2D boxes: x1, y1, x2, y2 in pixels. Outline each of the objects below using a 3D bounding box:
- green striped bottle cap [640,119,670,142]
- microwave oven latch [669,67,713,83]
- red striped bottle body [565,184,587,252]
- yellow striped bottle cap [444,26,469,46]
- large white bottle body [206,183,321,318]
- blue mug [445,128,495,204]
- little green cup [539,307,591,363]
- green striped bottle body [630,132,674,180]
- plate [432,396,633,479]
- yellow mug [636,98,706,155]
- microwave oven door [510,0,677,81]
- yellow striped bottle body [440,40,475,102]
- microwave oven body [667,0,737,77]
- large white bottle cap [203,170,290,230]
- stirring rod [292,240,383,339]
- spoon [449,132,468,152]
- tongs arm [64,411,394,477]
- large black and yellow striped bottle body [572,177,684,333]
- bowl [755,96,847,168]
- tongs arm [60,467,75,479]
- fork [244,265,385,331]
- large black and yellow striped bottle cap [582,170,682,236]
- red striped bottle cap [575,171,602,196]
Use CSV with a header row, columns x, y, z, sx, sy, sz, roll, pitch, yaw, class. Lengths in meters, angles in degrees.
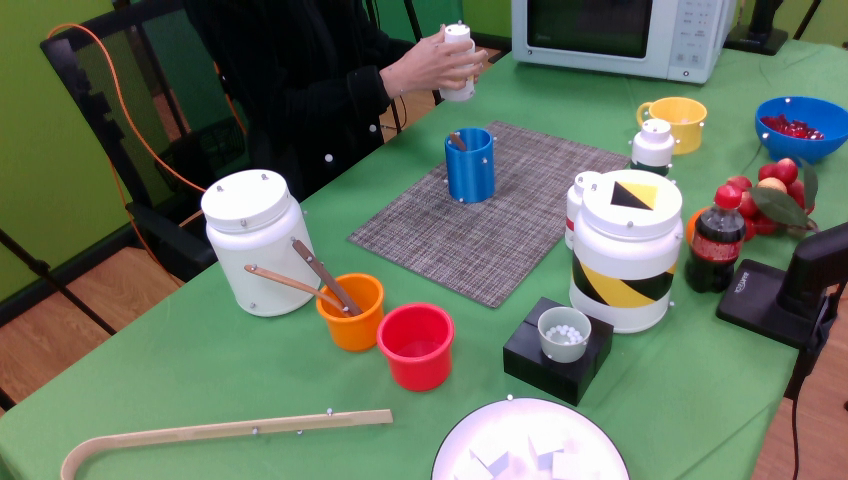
x,y,z,sx,sy,sz,roll,pitch,yaw,class
0.371,-0.175,0.968,0.044,0.020,0.044,-4,41,4,green striped bottle cap
0.556,-0.348,1.261,0.078,0.029,0.030,16,46,27,microwave oven latch
0.247,-0.041,0.910,0.063,0.120,0.062,-3,39,3,red striped bottle body
0.056,-0.351,1.042,0.044,0.019,0.044,0,42,0,yellow striped bottle cap
-0.233,0.008,0.876,0.130,0.185,0.130,-4,40,4,large white bottle body
0.081,-0.139,1.058,0.082,0.106,0.116,-4,40,4,blue mug
0.167,0.114,0.721,0.061,0.039,0.061,-4,43,4,little green cup
0.376,-0.135,1.001,0.063,0.120,0.063,-5,41,5,green striped bottle body
0.112,0.261,0.634,0.209,0.038,0.208,-5,40,4,plate
0.453,-0.217,1.128,0.100,0.064,0.129,-34,46,-27,yellow mug
0.354,-0.478,1.290,0.353,0.245,0.039,15,45,25,microwave oven door
0.059,-0.313,1.077,0.063,0.121,0.062,-1,43,1,yellow striped bottle body
0.462,-0.552,1.369,0.439,0.261,0.326,15,45,26,microwave oven body
-0.241,-0.057,0.822,0.115,0.018,0.114,-4,40,4,large white bottle cap
-0.118,0.068,0.826,0.176,0.006,0.014,49,60,-4,stirring rod
0.067,-0.143,0.998,0.041,0.195,0.021,9,79,18,spoon
-0.228,0.241,0.715,0.385,0.026,0.050,-5,43,4,tongs arm
0.262,0.017,0.788,0.131,0.185,0.130,-5,40,4,large black and yellow striped bottle body
0.645,-0.177,1.041,0.151,0.077,0.150,-5,40,4,bowl
-0.239,0.301,0.648,0.386,0.028,0.028,6,49,16,tongs arm
-0.142,0.078,0.806,0.209,0.018,0.028,30,32,-23,fork
0.252,-0.048,0.735,0.115,0.019,0.114,-3,40,3,large black and yellow striped bottle cap
0.242,-0.082,0.876,0.044,0.018,0.044,-5,44,5,red striped bottle cap
